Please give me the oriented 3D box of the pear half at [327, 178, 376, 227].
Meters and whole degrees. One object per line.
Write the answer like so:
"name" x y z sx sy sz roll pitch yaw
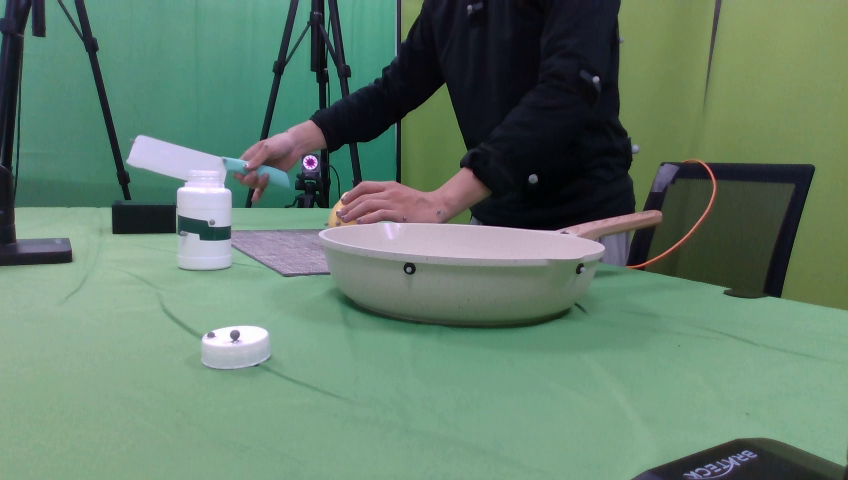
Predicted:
"pear half" -0.110 -0.042 0.943 0.077 0.110 0.055 -6 10 -25

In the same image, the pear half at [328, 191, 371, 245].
"pear half" -0.123 -0.036 0.976 0.071 0.088 0.031 -6 10 -25

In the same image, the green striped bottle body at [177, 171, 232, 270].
"green striped bottle body" -0.273 -0.026 0.753 0.063 0.119 0.063 2 7 0

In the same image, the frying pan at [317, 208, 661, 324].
"frying pan" 0.121 0.006 0.691 0.490 0.102 0.305 -13 15 -33

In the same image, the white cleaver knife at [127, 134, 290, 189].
"white cleaver knife" -0.392 -0.131 1.126 0.288 0.066 0.021 12 -6 -24

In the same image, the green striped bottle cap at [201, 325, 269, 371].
"green striped bottle cap" -0.129 0.073 0.415 0.044 0.020 0.044 3 8 0
